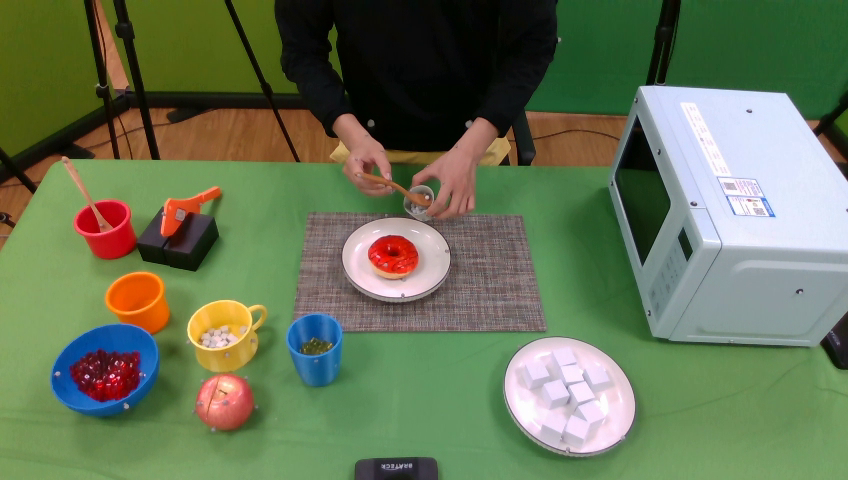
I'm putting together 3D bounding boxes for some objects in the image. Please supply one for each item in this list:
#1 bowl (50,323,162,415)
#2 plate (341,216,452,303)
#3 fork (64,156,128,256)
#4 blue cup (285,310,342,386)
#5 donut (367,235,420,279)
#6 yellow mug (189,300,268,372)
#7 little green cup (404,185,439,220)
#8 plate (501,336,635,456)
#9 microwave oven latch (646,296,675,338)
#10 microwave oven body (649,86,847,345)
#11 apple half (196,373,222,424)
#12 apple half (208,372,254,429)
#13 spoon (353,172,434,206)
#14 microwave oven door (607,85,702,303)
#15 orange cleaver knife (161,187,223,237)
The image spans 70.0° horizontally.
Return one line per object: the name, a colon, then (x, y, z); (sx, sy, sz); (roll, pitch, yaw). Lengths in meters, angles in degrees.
bowl: (-0.472, 0.209, 0.924); (0.151, 0.077, 0.150); (3, 45, -2)
plate: (-0.052, 0.039, 1.140); (0.209, 0.038, 0.208); (2, 46, -2)
fork: (-0.614, -0.064, 1.130); (0.028, 0.018, 0.207); (-30, 97, -17)
blue cup: (-0.170, 0.179, 0.958); (0.093, 0.101, 0.092); (2, 44, -1)
donut: (-0.057, 0.032, 1.132); (0.099, 0.048, 0.098); (3, 45, -3)
yellow mug: (-0.316, 0.149, 1.002); (0.131, 0.064, 0.099); (-32, 56, -32)
little green cup: (-0.002, -0.067, 1.130); (0.061, 0.039, 0.061); (-8, 66, 18)
plate: (0.225, 0.248, 0.963); (0.208, 0.039, 0.206); (2, 46, -2)
microwave oven latch: (0.412, 0.134, 1.061); (0.030, 0.029, 0.078); (3, 45, 1)
microwave oven body: (0.568, -0.053, 1.118); (0.326, 0.261, 0.439); (2, 45, -1)
apple half: (-0.322, 0.240, 0.907); (0.033, 0.081, 0.081); (6, 46, 0)
apple half: (-0.283, 0.244, 0.908); (0.053, 0.075, 0.080); (7, 42, -1)
spoon: (-0.050, -0.092, 1.062); (0.195, 0.021, 0.041); (20, 25, -48)
microwave oven door: (0.423, -0.094, 1.141); (0.039, 0.245, 0.353); (2, 46, -1)
orange cleaver knife: (-0.448, -0.058, 1.180); (0.012, 0.077, 0.211); (13, 17, 6)
